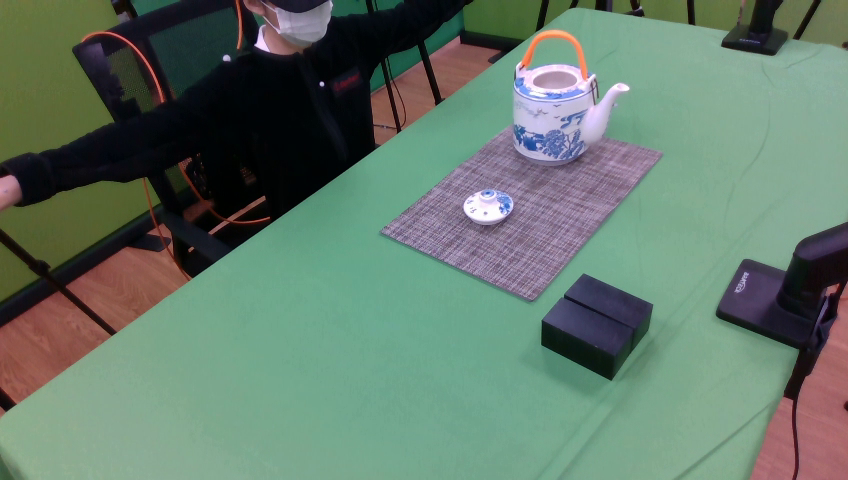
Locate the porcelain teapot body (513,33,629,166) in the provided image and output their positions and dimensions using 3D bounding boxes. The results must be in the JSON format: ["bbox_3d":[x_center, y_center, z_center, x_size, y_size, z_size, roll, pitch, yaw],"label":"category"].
[{"bbox_3d":[0.256,-0.248,1.065,0.204,0.226,0.145,18,47,28],"label":"porcelain teapot body"}]

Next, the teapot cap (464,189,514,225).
[{"bbox_3d":[0.108,-0.061,1.009,0.085,0.044,0.085,-2,39,2],"label":"teapot cap"}]
